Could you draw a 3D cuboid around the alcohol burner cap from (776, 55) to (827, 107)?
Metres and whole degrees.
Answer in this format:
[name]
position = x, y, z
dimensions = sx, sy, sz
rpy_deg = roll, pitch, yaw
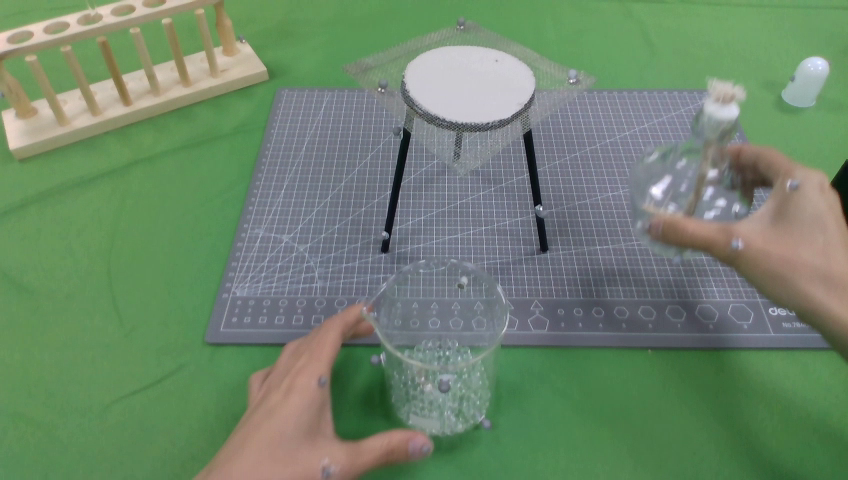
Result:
[alcohol burner cap]
position = 0.374, -0.159, 0.595
dimensions = 0.034, 0.048, 0.033
rpy_deg = 0, 49, 0

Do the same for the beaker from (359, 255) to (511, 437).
[beaker]
position = 0.007, 0.069, 0.366
dimensions = 0.084, 0.101, 0.073
rpy_deg = 3, 50, 4

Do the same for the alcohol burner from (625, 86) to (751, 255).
[alcohol burner]
position = 0.172, -0.047, 0.387
dimensions = 0.078, 0.120, 0.077
rpy_deg = 0, 47, 1

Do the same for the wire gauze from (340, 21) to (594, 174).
[wire gauze]
position = 0.027, -0.104, 0.397
dimensions = 0.121, 0.011, 0.124
rpy_deg = -32, 57, -26

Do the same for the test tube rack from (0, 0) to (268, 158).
[test tube rack]
position = -0.282, -0.169, 0.574
dimensions = 0.242, 0.086, 0.066
rpy_deg = -24, 54, -19

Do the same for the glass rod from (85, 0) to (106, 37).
[glass rod]
position = -0.292, -0.212, 0.523
dimensions = 0.008, 0.201, 0.008
rpy_deg = 3, 50, -4

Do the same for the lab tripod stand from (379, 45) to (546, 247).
[lab tripod stand]
position = 0.032, -0.063, 0.450
dimensions = 0.148, 0.132, 0.147
rpy_deg = 1, 49, -1
